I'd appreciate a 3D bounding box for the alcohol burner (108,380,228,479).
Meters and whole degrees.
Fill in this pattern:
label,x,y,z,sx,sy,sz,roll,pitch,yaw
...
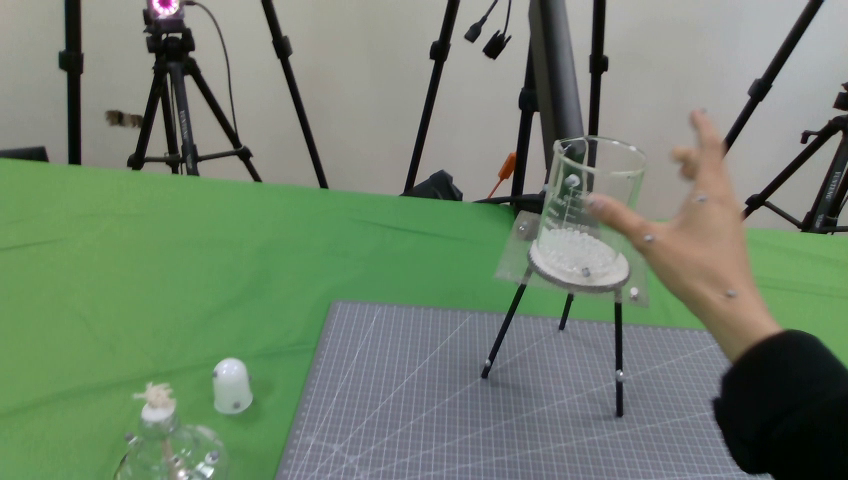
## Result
label,x,y,z,sx,sy,sz,roll,pitch,yaw
alcohol burner,-0.178,0.145,0.417,0.078,0.120,0.077,2,31,-1

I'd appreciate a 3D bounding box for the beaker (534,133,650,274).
label,x,y,z,sx,sy,sz,roll,pitch,yaw
beaker,0.131,-0.030,0.503,0.074,0.101,0.083,-19,39,-35

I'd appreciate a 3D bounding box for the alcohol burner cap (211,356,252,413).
label,x,y,z,sx,sy,sz,roll,pitch,yaw
alcohol burner cap,-0.169,0.123,0.526,0.034,0.048,0.033,3,31,-1

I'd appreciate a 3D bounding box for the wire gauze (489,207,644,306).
label,x,y,z,sx,sy,sz,roll,pitch,yaw
wire gauze,0.129,0.012,0.527,0.121,0.011,0.124,12,34,13

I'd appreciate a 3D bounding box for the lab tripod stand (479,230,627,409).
label,x,y,z,sx,sy,sz,roll,pitch,yaw
lab tripod stand,0.131,0.070,0.560,0.148,0.132,0.147,5,31,-3
